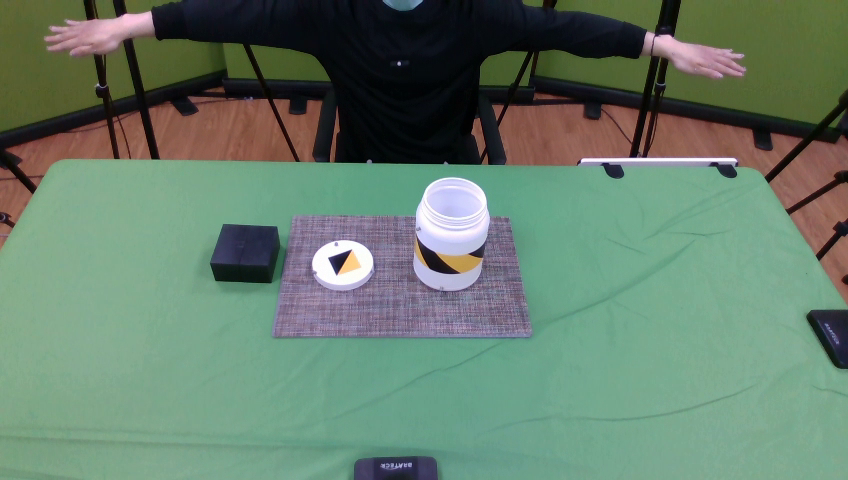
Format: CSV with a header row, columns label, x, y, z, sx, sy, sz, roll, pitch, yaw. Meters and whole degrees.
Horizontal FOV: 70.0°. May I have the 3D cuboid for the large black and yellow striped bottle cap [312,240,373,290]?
label,x,y,z,sx,sy,sz,roll,pitch,yaw
large black and yellow striped bottle cap,-0.153,0.046,1.140,0.115,0.019,0.114,3,47,-3

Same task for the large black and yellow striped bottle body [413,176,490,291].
label,x,y,z,sx,sy,sz,roll,pitch,yaw
large black and yellow striped bottle body,0.049,-0.011,1.091,0.131,0.185,0.130,2,46,-2
